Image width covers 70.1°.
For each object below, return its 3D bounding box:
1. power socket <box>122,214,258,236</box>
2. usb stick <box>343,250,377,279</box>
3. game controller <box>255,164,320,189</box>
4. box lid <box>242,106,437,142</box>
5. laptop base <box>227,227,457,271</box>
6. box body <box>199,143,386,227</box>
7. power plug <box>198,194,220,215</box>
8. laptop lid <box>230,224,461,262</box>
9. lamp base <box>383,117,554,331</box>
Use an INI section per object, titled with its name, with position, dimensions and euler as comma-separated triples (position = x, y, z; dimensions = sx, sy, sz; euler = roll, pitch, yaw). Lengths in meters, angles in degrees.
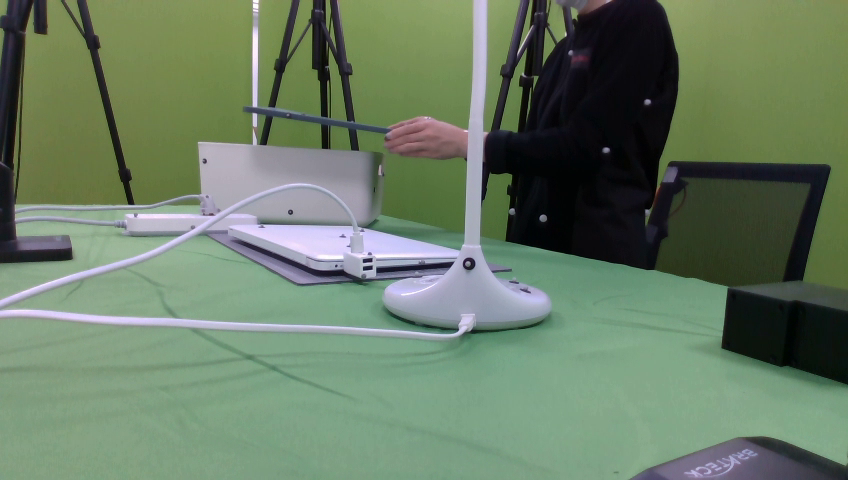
[power socket]
position = -0.399, -0.028, 1.049
dimensions = 0.228, 0.032, 0.072
euler = -3, 8, -34
[usb stick]
position = -0.076, 0.026, 0.687
dimensions = 0.021, 0.027, 0.059
euler = -8, 8, -31
[game controller]
position = -0.298, -0.139, 1.319
dimensions = 0.097, 0.051, 0.155
euler = 0, 6, 15
[box lid]
position = -0.160, -0.233, 1.231
dimensions = 0.372, 0.015, 0.263
euler = 9, 10, -3
[laptop base]
position = -0.123, 0.011, 0.889
dimensions = 0.237, 0.023, 0.352
euler = 2, 6, -35
[box body]
position = -0.276, -0.124, 1.334
dimensions = 0.364, 0.160, 0.254
euler = 3, 7, 1
[power plug]
position = -0.387, -0.055, 1.089
dimensions = 0.035, 0.052, 0.072
euler = -1, 7, -22
[laptop lid]
position = -0.120, 0.000, 0.888
dimensions = 0.243, 0.013, 0.355
euler = 1, 7, -33
[lamp base]
position = 0.045, -0.019, 0.547
dimensions = 0.161, 0.180, 0.179
euler = 2, 10, -4
